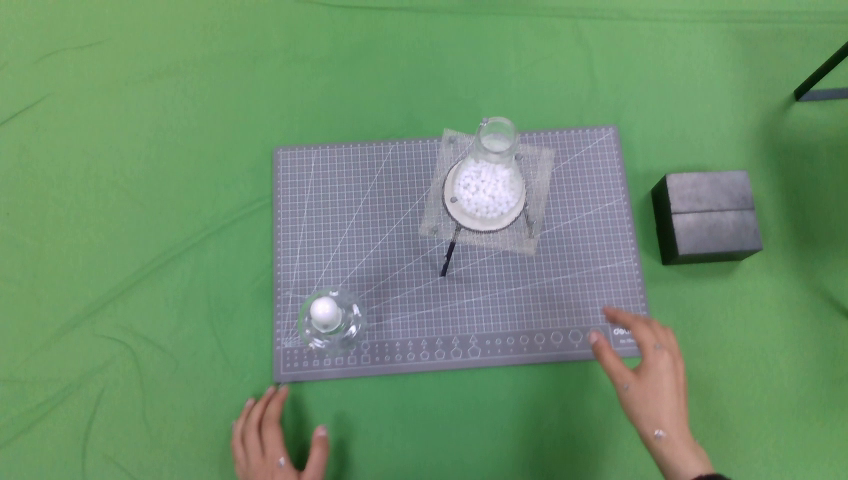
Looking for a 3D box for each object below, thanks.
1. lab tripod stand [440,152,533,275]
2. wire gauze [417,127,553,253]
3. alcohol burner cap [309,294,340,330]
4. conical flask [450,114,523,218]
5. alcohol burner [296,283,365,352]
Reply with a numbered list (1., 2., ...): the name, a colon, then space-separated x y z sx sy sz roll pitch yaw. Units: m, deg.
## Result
1. lab tripod stand: 0.059 -0.036 0.693 0.148 0.132 0.147 0 74 2
2. wire gauze: 0.065 -0.053 0.629 0.121 0.011 0.124 13 72 2
3. alcohol burner cap: -0.106 0.073 0.633 0.034 0.048 0.033 1 69 -4
4. conical flask: 0.063 -0.073 0.574 0.075 0.122 0.075 0 73 1
5. alcohol burner: -0.106 0.083 0.667 0.078 0.119 0.077 0 75 0
